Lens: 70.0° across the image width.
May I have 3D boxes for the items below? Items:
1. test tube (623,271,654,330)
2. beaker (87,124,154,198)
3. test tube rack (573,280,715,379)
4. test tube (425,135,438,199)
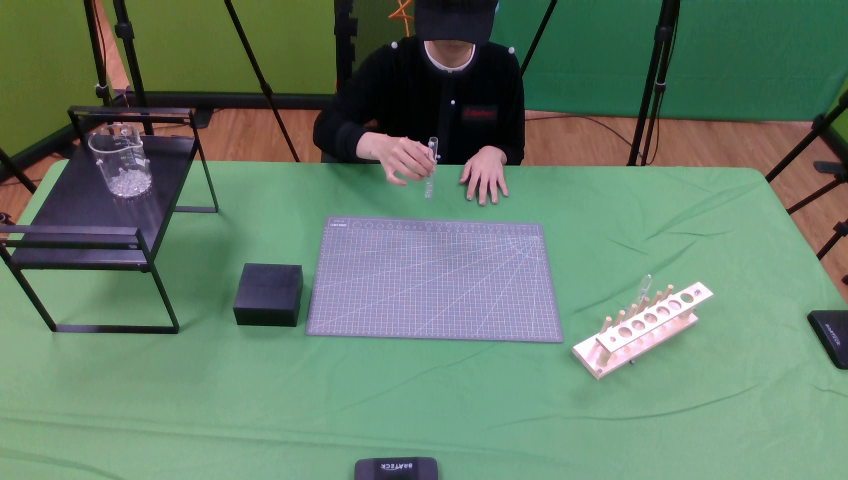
[{"bbox_3d":[0.356,0.104,1.010,0.017,0.151,0.017,1,46,-1],"label":"test tube"},{"bbox_3d":[-0.482,-0.124,0.978,0.084,0.101,0.073,9,46,4],"label":"beaker"},{"bbox_3d":[0.378,0.140,1.038,0.242,0.085,0.066,-22,51,-23],"label":"test tube rack"},{"bbox_3d":[0.013,-0.130,1.110,0.017,0.151,0.017,2,50,-2],"label":"test tube"}]
